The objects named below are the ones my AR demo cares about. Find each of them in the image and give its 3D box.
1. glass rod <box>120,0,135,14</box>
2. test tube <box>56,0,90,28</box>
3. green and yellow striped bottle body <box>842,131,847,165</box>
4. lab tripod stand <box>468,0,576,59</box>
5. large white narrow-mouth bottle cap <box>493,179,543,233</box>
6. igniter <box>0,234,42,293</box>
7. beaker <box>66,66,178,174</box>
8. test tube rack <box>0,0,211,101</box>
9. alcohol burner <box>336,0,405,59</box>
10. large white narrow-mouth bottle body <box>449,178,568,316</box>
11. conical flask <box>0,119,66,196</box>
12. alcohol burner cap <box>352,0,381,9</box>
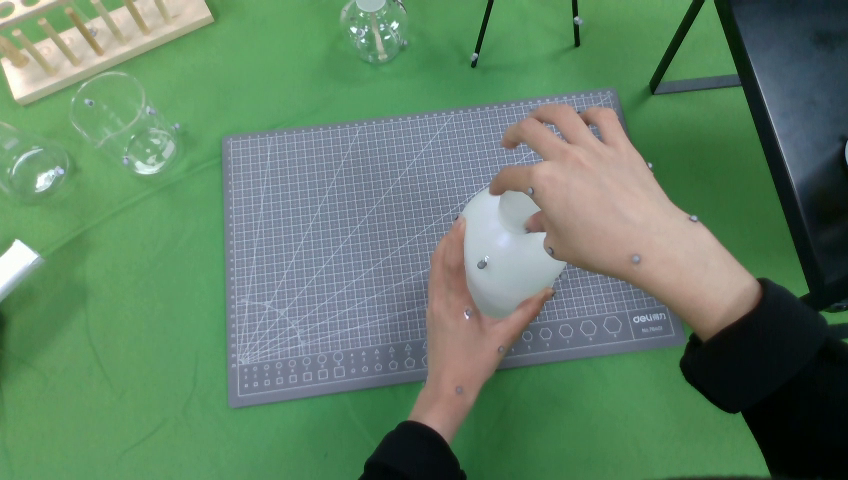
[{"bbox_3d":[-0.364,-0.315,0.638,0.008,0.201,0.008,-3,65,7],"label":"glass rod"},{"bbox_3d":[-0.405,-0.282,0.645,0.017,0.151,0.017,-2,68,5],"label":"test tube"},{"bbox_3d":[0.351,-0.086,0.411,0.063,0.120,0.063,0,70,1],"label":"green and yellow striped bottle body"},{"bbox_3d":[0.108,-0.279,0.665,0.148,0.132,0.147,0,69,0],"label":"lab tripod stand"},{"bbox_3d":[0.070,-0.025,0.447,0.038,0.024,0.037,0,73,1],"label":"large white narrow-mouth bottle cap"},{"bbox_3d":[-0.466,0.106,0.545,0.057,0.025,0.276,35,72,10],"label":"igniter"},{"bbox_3d":[-0.309,-0.117,0.632,0.074,0.101,0.083,7,71,4],"label":"beaker"},{"bbox_3d":[-0.381,-0.256,0.688,0.242,0.086,0.066,-28,72,-9],"label":"test tube rack"},{"bbox_3d":[-0.061,-0.258,0.671,0.078,0.120,0.077,0,69,0],"label":"alcohol burner"},{"bbox_3d":[0.073,0.002,0.534,0.102,0.196,0.101,0,72,1],"label":"large white narrow-mouth bottle body"},{"bbox_3d":[-0.433,-0.101,0.616,0.075,0.122,0.075,0,70,1],"label":"conical flask"},{"bbox_3d":[-0.063,-0.272,0.637,0.034,0.048,0.033,0,69,0],"label":"alcohol burner cap"}]
